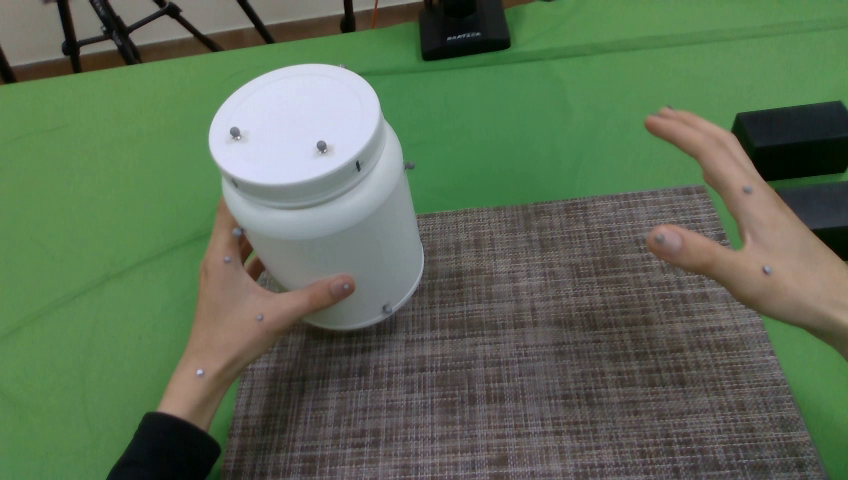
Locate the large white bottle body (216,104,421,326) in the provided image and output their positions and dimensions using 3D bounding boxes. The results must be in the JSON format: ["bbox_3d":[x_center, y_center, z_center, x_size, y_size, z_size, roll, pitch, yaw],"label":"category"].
[{"bbox_3d":[-0.077,-0.029,0.473,0.130,0.186,0.129,-4,54,6],"label":"large white bottle body"}]

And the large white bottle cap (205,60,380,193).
[{"bbox_3d":[-0.087,-0.079,0.404,0.115,0.018,0.113,-3,54,5],"label":"large white bottle cap"}]
